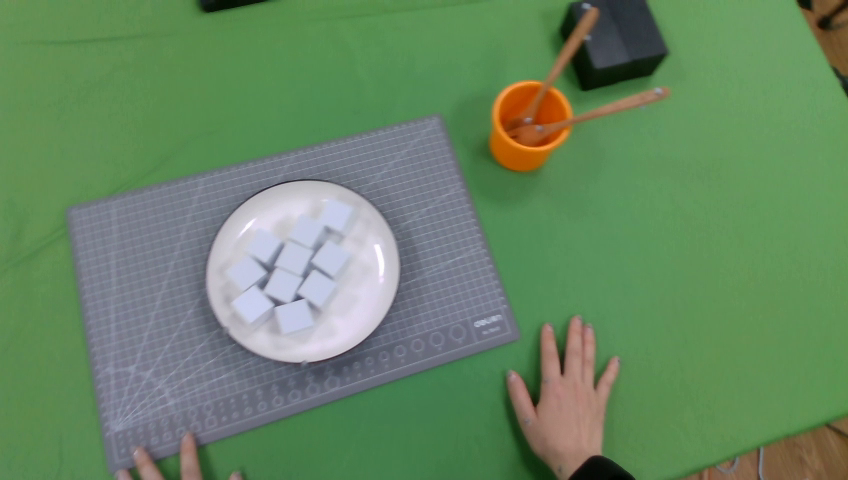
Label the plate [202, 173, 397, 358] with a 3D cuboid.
[{"bbox_3d":[-0.134,0.029,0.671,0.208,0.039,0.206,1,73,-4],"label":"plate"}]

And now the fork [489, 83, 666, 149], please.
[{"bbox_3d":[0.166,-0.140,0.682,0.206,0.019,0.028,-13,89,36],"label":"fork"}]

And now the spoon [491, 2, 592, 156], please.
[{"bbox_3d":[0.136,-0.181,0.698,0.041,0.194,0.021,38,31,11],"label":"spoon"}]
